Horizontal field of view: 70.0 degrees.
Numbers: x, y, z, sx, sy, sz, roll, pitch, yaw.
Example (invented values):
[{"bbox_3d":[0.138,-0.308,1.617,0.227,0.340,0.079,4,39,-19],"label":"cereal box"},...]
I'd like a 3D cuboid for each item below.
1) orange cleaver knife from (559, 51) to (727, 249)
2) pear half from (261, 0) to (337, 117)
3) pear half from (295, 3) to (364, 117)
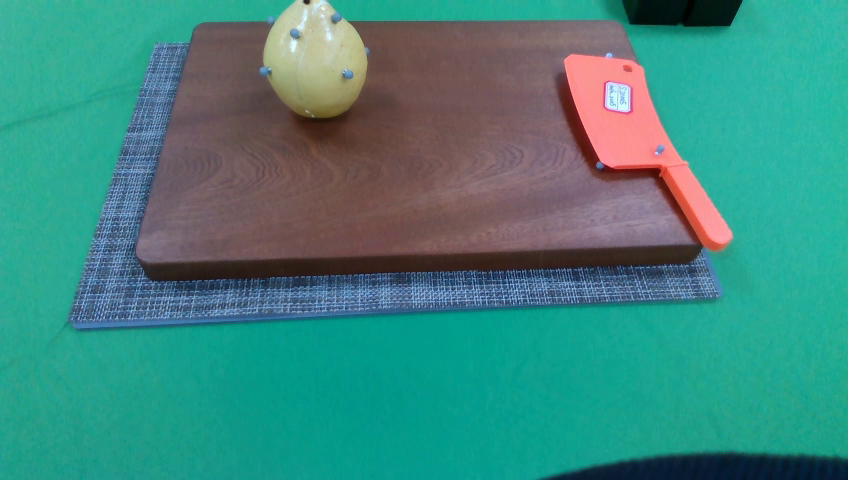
[{"bbox_3d":[0.164,-0.080,0.475,0.077,0.012,0.209,-7,57,-11],"label":"orange cleaver knife"},{"bbox_3d":[-0.096,-0.153,0.459,0.056,0.111,0.076,23,51,14],"label":"pear half"},{"bbox_3d":[-0.065,-0.132,0.458,0.031,0.089,0.070,22,51,14],"label":"pear half"}]
